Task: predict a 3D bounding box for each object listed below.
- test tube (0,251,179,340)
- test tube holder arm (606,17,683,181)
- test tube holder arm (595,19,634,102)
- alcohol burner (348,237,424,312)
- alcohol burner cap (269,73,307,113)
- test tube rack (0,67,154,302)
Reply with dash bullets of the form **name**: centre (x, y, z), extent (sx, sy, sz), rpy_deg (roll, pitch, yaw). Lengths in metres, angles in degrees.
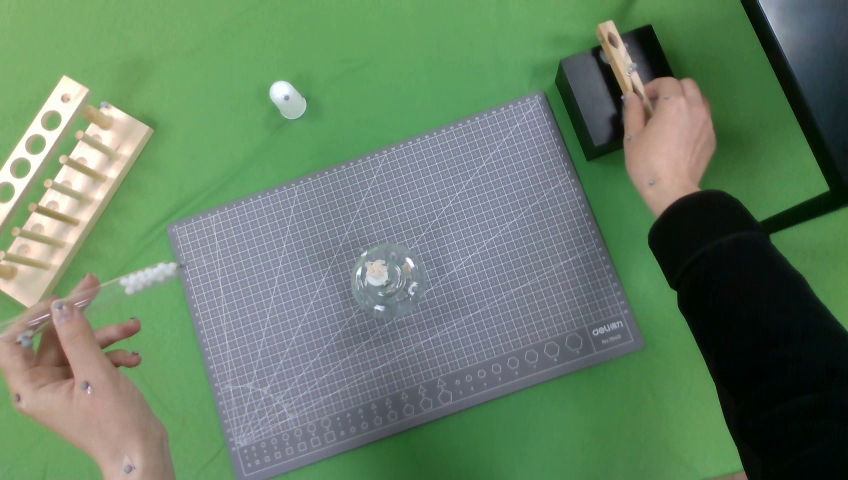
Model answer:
- **test tube**: centre (-0.231, 0.038, 0.400), extent (0.017, 0.150, 0.017), rpy_deg (17, 119, 33)
- **test tube holder arm**: centre (0.215, -0.141, 0.599), extent (0.013, 0.015, 0.177), rpy_deg (-22, 79, 1)
- **test tube holder arm**: centre (0.194, -0.180, 0.607), extent (0.010, 0.015, 0.087), rpy_deg (-21, 79, 1)
- **alcohol burner**: centre (-0.040, 0.032, 0.602), extent (0.078, 0.119, 0.077), rpy_deg (-1, 80, 6)
- **alcohol burner cap**: centre (-0.154, -0.167, 0.676), extent (0.034, 0.048, 0.033), rpy_deg (-2, 77, 8)
- **test tube rack**: centre (-0.406, -0.055, 0.658), extent (0.066, 0.085, 0.242), rpy_deg (30, 85, 8)
